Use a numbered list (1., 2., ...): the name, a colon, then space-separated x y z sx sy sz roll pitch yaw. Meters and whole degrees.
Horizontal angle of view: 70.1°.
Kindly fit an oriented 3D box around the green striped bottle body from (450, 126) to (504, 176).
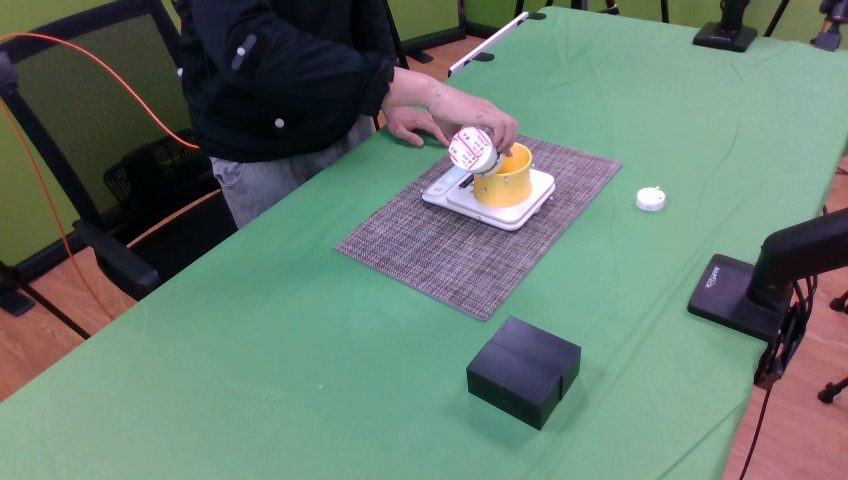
1. green striped bottle body: 0.083 -0.130 0.903 0.063 0.063 0.120 8 3 17

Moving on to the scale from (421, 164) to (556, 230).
1. scale: 0.110 -0.089 1.042 0.199 0.032 0.149 23 48 31

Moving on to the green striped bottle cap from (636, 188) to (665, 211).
1. green striped bottle cap: 0.374 -0.067 0.998 0.044 0.020 0.044 -5 39 5

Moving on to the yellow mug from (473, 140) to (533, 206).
1. yellow mug: 0.125 -0.121 1.004 0.100 0.064 0.130 -13 41 -5
